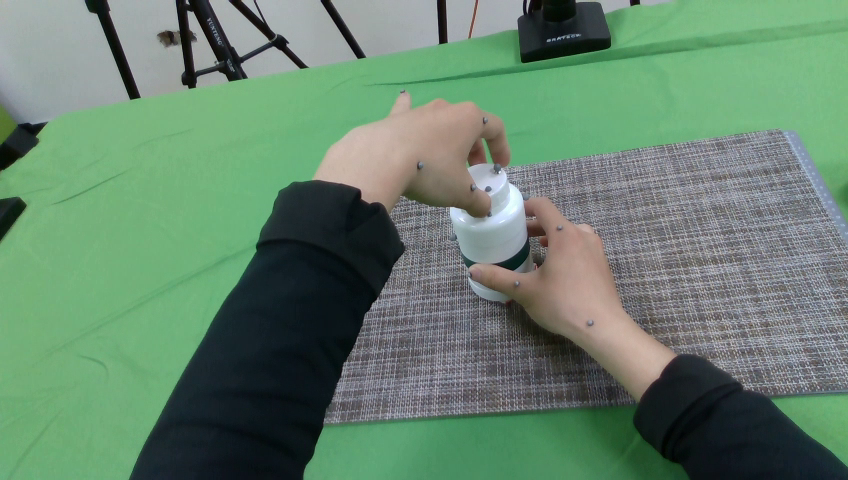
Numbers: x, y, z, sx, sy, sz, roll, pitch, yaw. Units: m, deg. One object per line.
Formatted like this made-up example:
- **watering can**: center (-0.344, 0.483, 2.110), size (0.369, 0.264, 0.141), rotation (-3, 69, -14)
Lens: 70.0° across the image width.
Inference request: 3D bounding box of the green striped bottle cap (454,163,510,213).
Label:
- **green striped bottle cap**: center (0.047, -0.042, 0.492), size (0.044, 0.020, 0.044), rotation (-14, 43, 13)

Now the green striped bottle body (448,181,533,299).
- **green striped bottle body**: center (0.058, -0.007, 0.529), size (0.063, 0.120, 0.062), rotation (-9, 45, 10)
